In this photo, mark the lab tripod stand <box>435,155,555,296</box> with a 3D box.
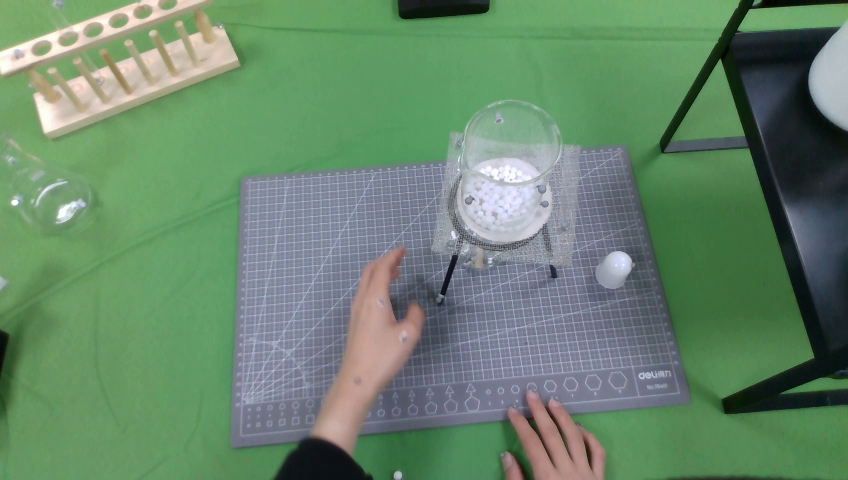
[{"bbox_3d":[0.068,-0.012,0.598,0.148,0.132,0.147,0,65,0],"label":"lab tripod stand"}]

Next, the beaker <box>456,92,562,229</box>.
[{"bbox_3d":[0.062,-0.057,0.493,0.084,0.101,0.073,-27,69,-10],"label":"beaker"}]

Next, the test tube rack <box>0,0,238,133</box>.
[{"bbox_3d":[-0.358,-0.221,0.719,0.242,0.086,0.066,-25,68,-10],"label":"test tube rack"}]

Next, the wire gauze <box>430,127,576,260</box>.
[{"bbox_3d":[0.073,-0.043,0.539,0.121,0.011,0.124,8,66,2],"label":"wire gauze"}]

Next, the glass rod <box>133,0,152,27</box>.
[{"bbox_3d":[-0.332,-0.286,0.675,0.008,0.201,0.008,-1,59,3],"label":"glass rod"}]

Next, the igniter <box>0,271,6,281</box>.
[{"bbox_3d":[-0.491,0.137,0.550,0.057,0.025,0.275,22,68,20],"label":"igniter"}]

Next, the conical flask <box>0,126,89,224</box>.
[{"bbox_3d":[-0.419,-0.073,0.637,0.075,0.123,0.075,0,66,1],"label":"conical flask"}]

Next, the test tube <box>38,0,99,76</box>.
[{"bbox_3d":[-0.402,-0.240,0.674,0.017,0.151,0.017,0,60,0],"label":"test tube"}]

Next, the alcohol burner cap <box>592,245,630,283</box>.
[{"bbox_3d":[0.197,0.022,0.631,0.034,0.048,0.033,0,67,1],"label":"alcohol burner cap"}]

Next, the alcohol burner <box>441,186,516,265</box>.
[{"bbox_3d":[0.056,-0.020,0.612,0.078,0.120,0.077,0,65,-1],"label":"alcohol burner"}]

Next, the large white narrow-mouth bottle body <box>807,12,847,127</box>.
[{"bbox_3d":[0.374,-0.167,0.435,0.102,0.196,0.101,-1,67,2],"label":"large white narrow-mouth bottle body"}]
